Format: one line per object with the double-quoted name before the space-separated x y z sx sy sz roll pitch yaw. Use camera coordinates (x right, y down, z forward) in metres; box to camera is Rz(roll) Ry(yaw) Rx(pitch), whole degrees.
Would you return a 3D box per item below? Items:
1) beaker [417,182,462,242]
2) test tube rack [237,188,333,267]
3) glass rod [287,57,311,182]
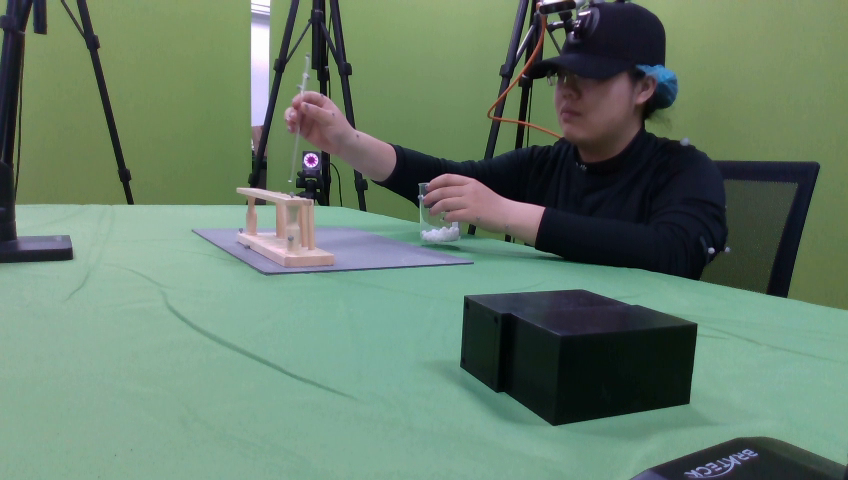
"beaker" 0.030 -0.048 1.017 0.083 0.100 0.074 4 7 42
"test tube rack" -0.203 -0.024 0.854 0.067 0.085 0.241 -2 8 -30
"glass rod" -0.196 -0.189 0.946 0.008 0.199 0.008 8 -3 1
